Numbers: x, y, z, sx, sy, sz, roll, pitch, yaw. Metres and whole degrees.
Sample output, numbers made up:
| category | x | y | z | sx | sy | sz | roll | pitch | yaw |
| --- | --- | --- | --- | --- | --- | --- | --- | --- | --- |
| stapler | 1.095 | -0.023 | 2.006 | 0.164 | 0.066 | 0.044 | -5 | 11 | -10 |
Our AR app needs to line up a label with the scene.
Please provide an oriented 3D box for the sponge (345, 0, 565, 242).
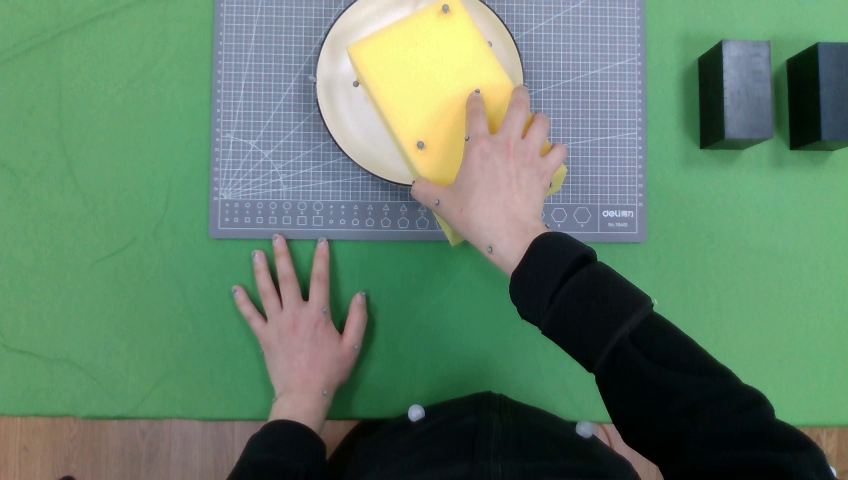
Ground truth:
| category | x | y | z | sx | sy | sz | roll | pitch | yaw |
| --- | --- | --- | --- | --- | --- | --- | --- | --- | --- |
| sponge | 0.027 | -0.117 | 0.573 | 0.118 | 0.061 | 0.205 | -29 | 77 | -4 |

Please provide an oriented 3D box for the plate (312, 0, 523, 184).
| category | x | y | z | sx | sy | sz | roll | pitch | yaw |
| --- | --- | --- | --- | --- | --- | --- | --- | --- | --- |
| plate | -0.005 | -0.157 | 0.613 | 0.209 | 0.038 | 0.208 | 0 | 87 | -3 |
